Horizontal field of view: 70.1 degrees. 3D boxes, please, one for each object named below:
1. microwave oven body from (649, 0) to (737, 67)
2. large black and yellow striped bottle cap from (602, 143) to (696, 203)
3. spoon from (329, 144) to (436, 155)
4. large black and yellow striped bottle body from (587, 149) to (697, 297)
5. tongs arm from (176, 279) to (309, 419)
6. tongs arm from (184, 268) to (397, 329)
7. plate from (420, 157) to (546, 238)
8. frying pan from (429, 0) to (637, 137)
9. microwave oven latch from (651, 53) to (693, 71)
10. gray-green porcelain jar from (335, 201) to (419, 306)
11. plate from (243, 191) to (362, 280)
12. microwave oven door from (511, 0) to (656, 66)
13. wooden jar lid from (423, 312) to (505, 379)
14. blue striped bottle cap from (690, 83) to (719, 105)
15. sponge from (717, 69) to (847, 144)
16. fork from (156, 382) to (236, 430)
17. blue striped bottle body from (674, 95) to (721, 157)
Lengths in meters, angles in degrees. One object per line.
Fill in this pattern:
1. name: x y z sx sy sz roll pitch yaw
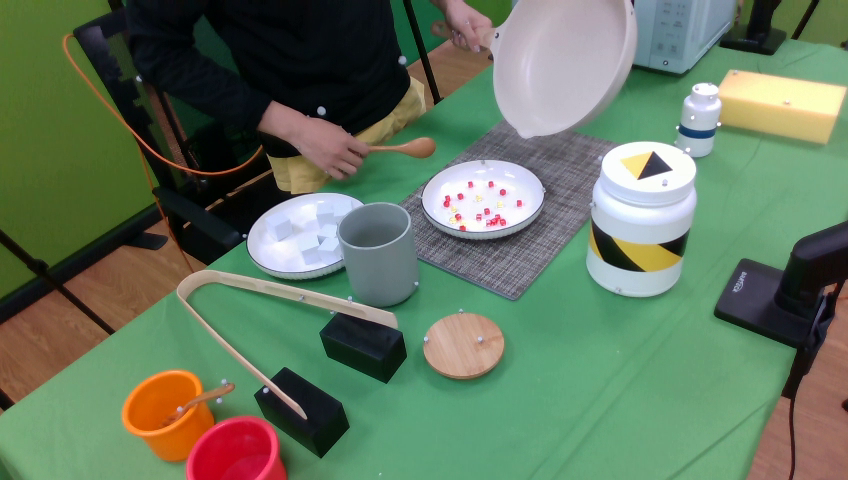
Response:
1. microwave oven body: 0.475 -0.602 1.411 0.438 0.261 0.327 23 50 32
2. large black and yellow striped bottle cap: 0.289 -0.088 0.778 0.115 0.019 0.114 -5 39 4
3. spoon: -0.074 -0.166 1.095 0.194 0.021 0.041 1 6 -10
4. large black and yellow striped bottle body: 0.298 -0.026 0.835 0.131 0.185 0.130 -4 41 4
5. tongs arm: -0.254 0.133 0.801 0.028 0.028 0.384 -41 40 -23
6. tongs arm: -0.202 0.084 0.848 0.382 0.027 0.051 11 45 35
7. plate: 0.099 -0.067 1.017 0.209 0.038 0.208 -4 40 4
8. frying pan: 0.175 -0.363 1.110 0.103 0.306 0.483 3 22 -47
9. microwave oven latch: 0.533 -0.387 1.302 0.078 0.029 0.030 29 53 35
10. gray-green porcelain jar: -0.064 0.024 0.872 0.106 0.127 0.105 -4 41 4
11. plate: -0.187 -0.005 0.992 0.207 0.039 0.206 -4 40 4
12. microwave oven door: 0.351 -0.540 1.349 0.353 0.245 0.039 24 50 31
13. wooden jar lid: 0.053 0.142 0.800 0.108 0.021 0.108 -5 39 4
14. blue striped bottle cap: 0.481 -0.251 1.038 0.044 0.021 0.044 -5 39 5
15. sponge: 0.663 -0.256 1.142 0.205 0.061 0.118 19 47 28
16. fork: -0.262 0.189 0.690 0.018 0.206 0.028 49 43 -6
17. blue striped bottle body: 0.486 -0.213 1.072 0.063 0.121 0.063 -4 41 4
